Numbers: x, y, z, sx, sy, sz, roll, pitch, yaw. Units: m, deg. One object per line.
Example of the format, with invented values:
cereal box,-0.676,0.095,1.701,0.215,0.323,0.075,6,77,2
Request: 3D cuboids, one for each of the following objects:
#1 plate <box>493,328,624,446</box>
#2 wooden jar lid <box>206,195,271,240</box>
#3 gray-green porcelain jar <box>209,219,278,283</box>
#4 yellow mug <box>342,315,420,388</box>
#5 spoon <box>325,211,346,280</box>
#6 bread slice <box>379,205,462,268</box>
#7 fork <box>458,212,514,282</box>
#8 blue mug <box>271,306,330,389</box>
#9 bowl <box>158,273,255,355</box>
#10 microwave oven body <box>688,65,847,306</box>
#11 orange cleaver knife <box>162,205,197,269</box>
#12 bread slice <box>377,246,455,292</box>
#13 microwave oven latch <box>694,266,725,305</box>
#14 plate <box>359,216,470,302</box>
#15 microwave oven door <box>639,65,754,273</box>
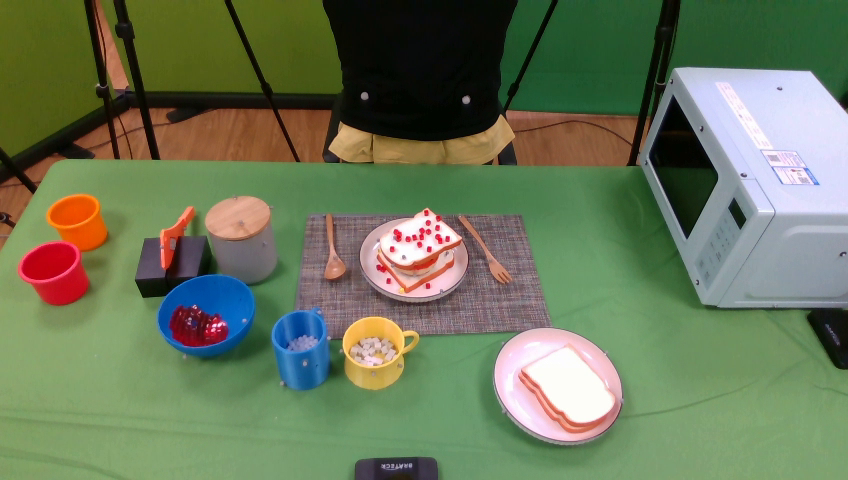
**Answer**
plate,0.213,0.236,0.974,0.208,0.039,0.206,2,46,-2
wooden jar lid,-0.319,-0.036,1.046,0.108,0.021,0.107,1,44,-1
gray-green porcelain jar,-0.323,0.007,1.092,0.106,0.127,0.105,2,46,-1
yellow mug,-0.068,0.177,0.990,0.131,0.064,0.099,-15,50,-19
spoon,-0.177,0.006,1.170,0.041,0.022,0.192,-21,48,7
bread slice,-0.012,-0.001,1.097,0.134,0.018,0.106,-33,51,-23
fork,0.116,0.011,1.188,0.028,0.019,0.206,-20,52,-14
blue mug,-0.188,0.163,0.969,0.082,0.106,0.116,15,47,10
bowl,-0.351,0.136,1.001,0.151,0.077,0.150,2,46,-2
microwave oven body,0.669,-0.111,1.176,0.326,0.261,0.439,0,46,-3
orange cleaver knife,-0.454,-0.010,1.129,0.012,0.077,0.210,1,20,-6
bread slice,-0.010,0.033,1.149,0.131,0.019,0.104,-28,55,-25
microwave oven latch,0.523,0.082,1.115,0.030,0.029,0.078,3,46,0
plate,-0.019,0.038,1.140,0.209,0.038,0.208,2,46,-2
microwave oven door,0.522,-0.147,1.193,0.039,0.245,0.353,0,47,-3
